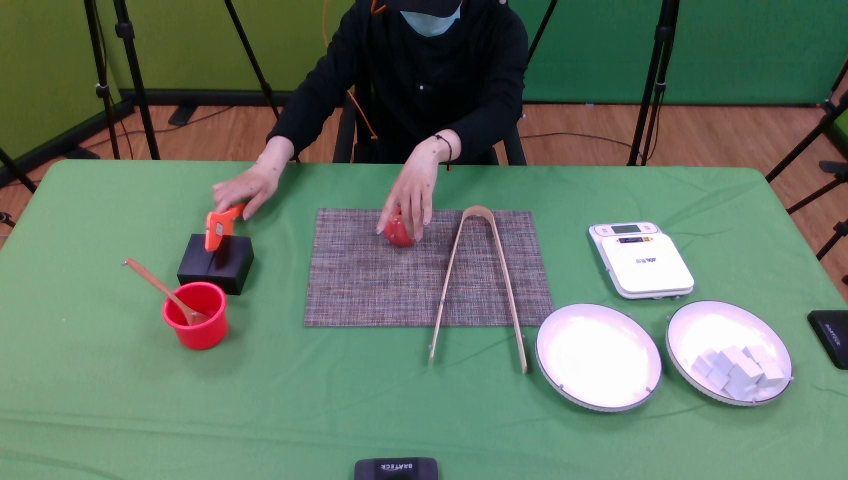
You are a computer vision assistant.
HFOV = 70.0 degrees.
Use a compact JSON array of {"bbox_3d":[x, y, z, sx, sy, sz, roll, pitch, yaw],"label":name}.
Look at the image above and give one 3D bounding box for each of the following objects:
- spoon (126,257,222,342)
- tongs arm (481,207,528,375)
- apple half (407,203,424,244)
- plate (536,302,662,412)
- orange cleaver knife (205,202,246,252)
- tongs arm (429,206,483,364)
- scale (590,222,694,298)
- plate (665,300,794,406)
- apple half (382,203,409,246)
[{"bbox_3d":[-0.408,0.096,0.990,0.194,0.021,0.041,50,53,-18],"label":"spoon"},{"bbox_3d":[0.149,0.078,1.124,0.028,0.028,0.385,-4,46,-2],"label":"tongs arm"},{"bbox_3d":[-0.016,-0.031,1.183,0.033,0.082,0.081,-2,46,-1],"label":"apple half"},{"bbox_3d":[0.288,0.197,1.016,0.209,0.038,0.208,2,46,-2],"label":"plate"},{"bbox_3d":[-0.374,-0.029,1.150,0.012,0.077,0.211,4,13,0],"label":"orange cleaver knife"},{"bbox_3d":[0.064,0.069,1.124,0.051,0.026,0.382,8,45,5],"label":"tongs arm"},{"bbox_3d":[0.424,0.031,1.189,0.149,0.032,0.199,-3,46,-7],"label":"scale"},{"bbox_3d":[0.513,0.194,1.034,0.208,0.039,0.206,2,46,-2],"label":"plate"},{"bbox_3d":[-0.055,-0.029,1.180,0.053,0.075,0.080,-2,50,-1],"label":"apple half"}]
